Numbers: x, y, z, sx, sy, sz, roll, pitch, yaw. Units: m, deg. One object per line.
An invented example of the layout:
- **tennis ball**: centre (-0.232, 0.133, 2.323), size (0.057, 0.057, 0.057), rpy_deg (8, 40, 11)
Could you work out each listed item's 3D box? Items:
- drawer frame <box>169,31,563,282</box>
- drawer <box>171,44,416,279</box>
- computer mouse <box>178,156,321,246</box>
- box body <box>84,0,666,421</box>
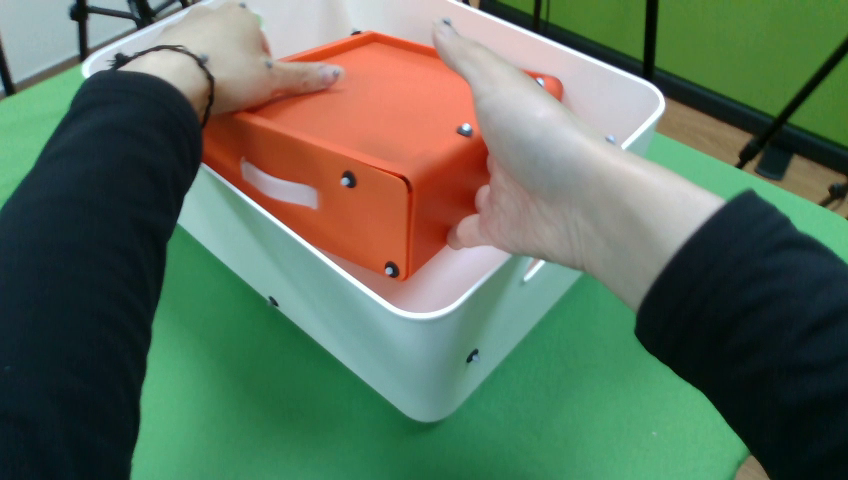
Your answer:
- **drawer frame**: centre (-0.034, -0.081, 0.453), size (0.200, 0.083, 0.213), rpy_deg (21, 37, 25)
- **drawer**: centre (-0.035, -0.078, 0.452), size (0.193, 0.074, 0.211), rpy_deg (21, 37, 26)
- **computer mouse**: centre (-0.101, -0.029, 0.403), size (0.117, 0.041, 0.062), rpy_deg (5, 46, -2)
- **box body**: centre (-0.043, -0.064, 0.489), size (0.361, 0.162, 0.254), rpy_deg (34, 58, 26)
